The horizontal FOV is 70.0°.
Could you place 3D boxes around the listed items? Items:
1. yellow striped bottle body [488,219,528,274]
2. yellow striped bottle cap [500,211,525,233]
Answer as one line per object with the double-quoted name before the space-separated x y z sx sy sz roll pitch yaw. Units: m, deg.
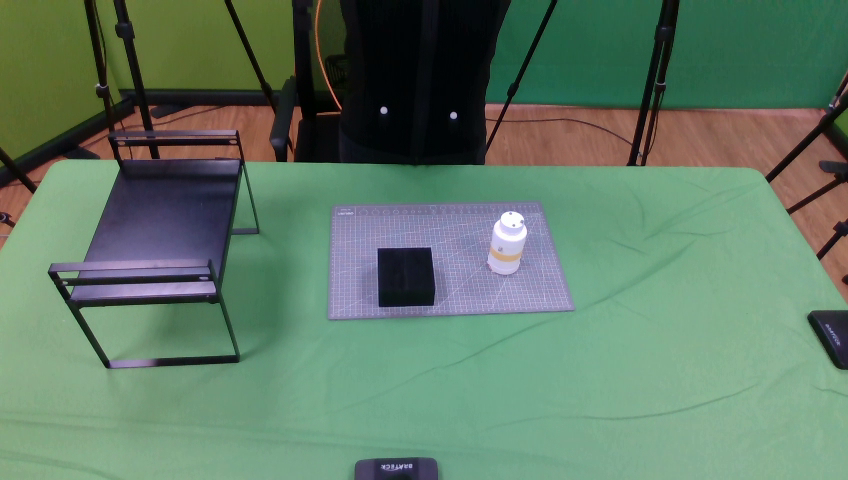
"yellow striped bottle body" 0.157 0.003 1.132 0.063 0.121 0.062 2 46 -2
"yellow striped bottle cap" 0.160 -0.033 1.094 0.044 0.019 0.044 4 46 -4
